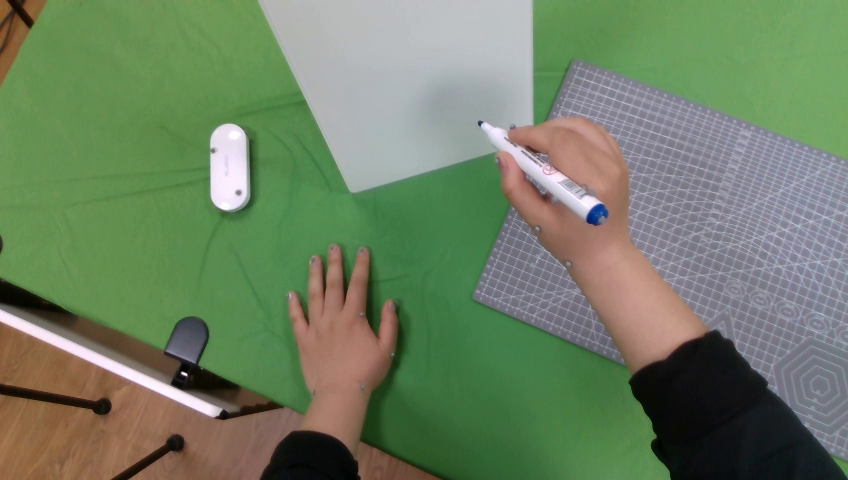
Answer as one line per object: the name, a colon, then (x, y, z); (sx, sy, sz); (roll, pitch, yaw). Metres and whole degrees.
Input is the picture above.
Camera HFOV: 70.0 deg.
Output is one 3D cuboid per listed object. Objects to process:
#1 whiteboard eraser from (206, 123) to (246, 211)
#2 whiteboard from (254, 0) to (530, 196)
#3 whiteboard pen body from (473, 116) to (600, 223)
whiteboard eraser: (-0.225, -0.083, 0.685); (0.041, 0.019, 0.101); (-4, 81, 1)
whiteboard: (-0.023, -0.212, 0.585); (0.217, 0.308, 0.142); (-16, 59, 1)
whiteboard pen body: (0.073, -0.055, 0.427); (0.017, 0.017, 0.139); (-38, 50, -3)
